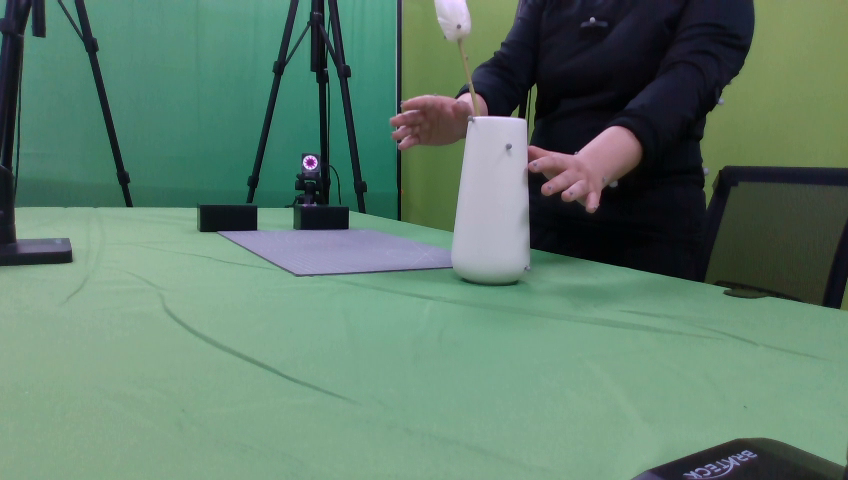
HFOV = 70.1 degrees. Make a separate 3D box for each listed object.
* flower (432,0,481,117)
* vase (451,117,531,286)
[{"bbox_3d":[0.071,-0.129,0.736,0.038,0.361,0.044,-16,-2,40],"label":"flower"},{"bbox_3d":[0.083,-0.047,0.737,0.098,0.200,0.098,1,6,0],"label":"vase"}]
